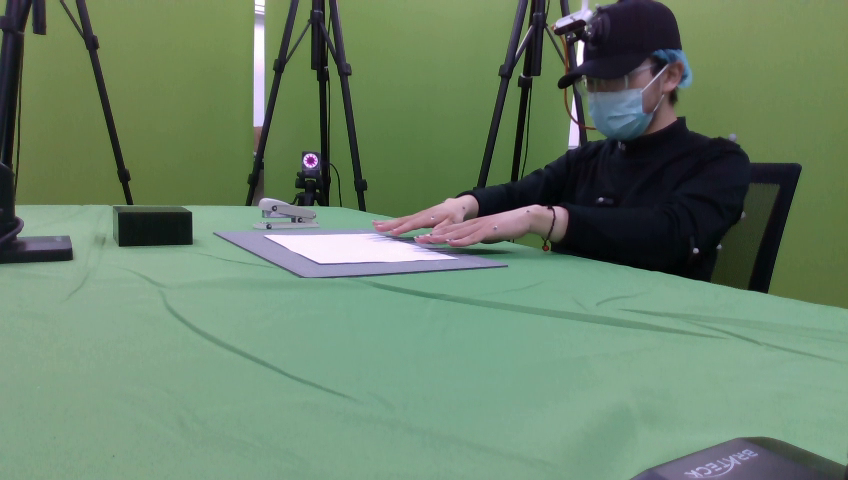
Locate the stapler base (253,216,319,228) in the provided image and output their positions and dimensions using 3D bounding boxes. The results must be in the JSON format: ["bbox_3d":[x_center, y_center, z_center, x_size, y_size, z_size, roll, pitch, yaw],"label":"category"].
[{"bbox_3d":[-0.274,-0.037,1.203,0.131,0.024,0.041,-1,11,-40],"label":"stapler base"}]

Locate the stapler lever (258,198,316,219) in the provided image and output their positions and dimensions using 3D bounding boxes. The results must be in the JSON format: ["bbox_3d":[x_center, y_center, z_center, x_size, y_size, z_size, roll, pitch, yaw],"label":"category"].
[{"bbox_3d":[-0.271,-0.062,1.201,0.119,0.040,0.026,-1,11,-40],"label":"stapler lever"}]
